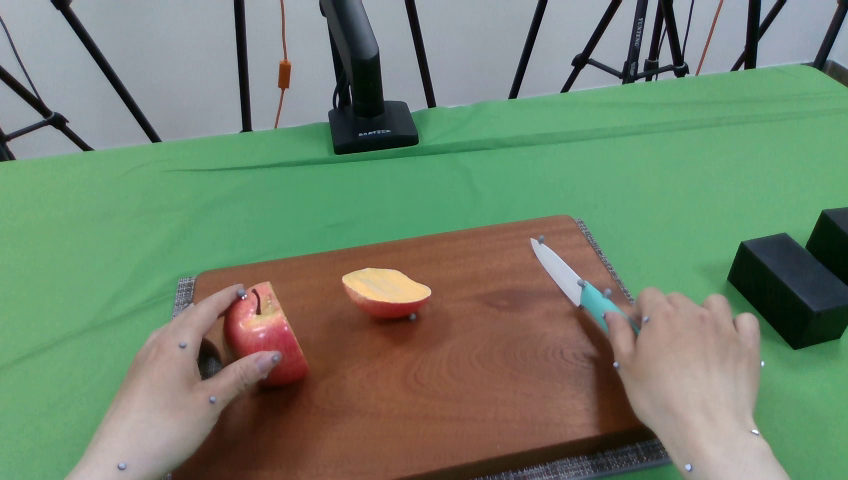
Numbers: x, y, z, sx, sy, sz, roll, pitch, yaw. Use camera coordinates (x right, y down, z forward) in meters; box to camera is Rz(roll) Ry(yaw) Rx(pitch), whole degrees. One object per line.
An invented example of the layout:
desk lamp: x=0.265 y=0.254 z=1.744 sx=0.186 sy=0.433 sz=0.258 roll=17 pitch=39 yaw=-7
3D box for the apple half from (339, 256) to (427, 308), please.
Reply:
apple half: x=-0.041 y=0.044 z=0.546 sx=0.081 sy=0.033 sz=0.081 roll=12 pitch=19 yaw=-4

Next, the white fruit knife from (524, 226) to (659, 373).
white fruit knife: x=0.143 y=0.040 z=0.548 sx=0.016 sy=0.027 sz=0.205 roll=12 pitch=25 yaw=-32

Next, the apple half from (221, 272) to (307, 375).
apple half: x=-0.133 y=0.074 z=0.489 sx=0.053 sy=0.075 sz=0.080 roll=-26 pitch=52 yaw=-16
